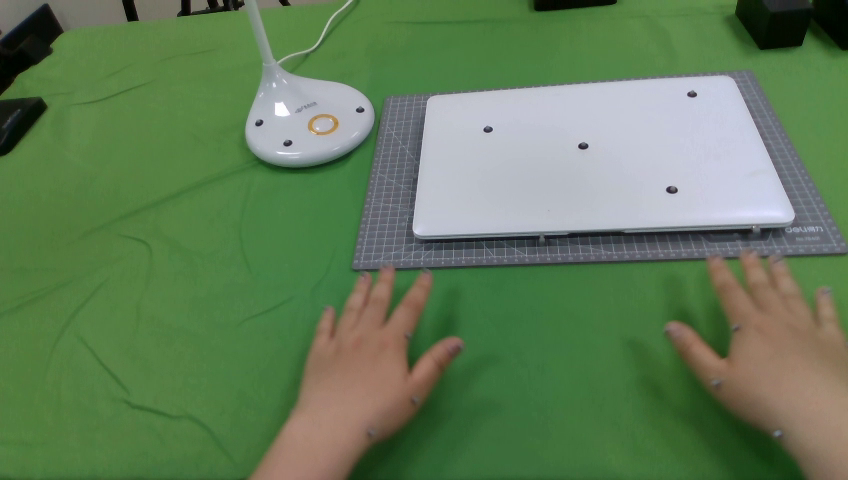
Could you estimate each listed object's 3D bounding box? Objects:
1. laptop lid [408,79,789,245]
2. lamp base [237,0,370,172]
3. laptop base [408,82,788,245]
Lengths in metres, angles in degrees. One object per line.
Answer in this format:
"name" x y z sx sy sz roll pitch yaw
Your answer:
"laptop lid" 0.164 -0.091 0.640 0.356 0.013 0.239 -1 48 9
"lamp base" -0.165 -0.196 0.702 0.177 0.182 0.160 29 57 35
"laptop base" 0.166 -0.084 0.650 0.354 0.023 0.233 -2 49 7
